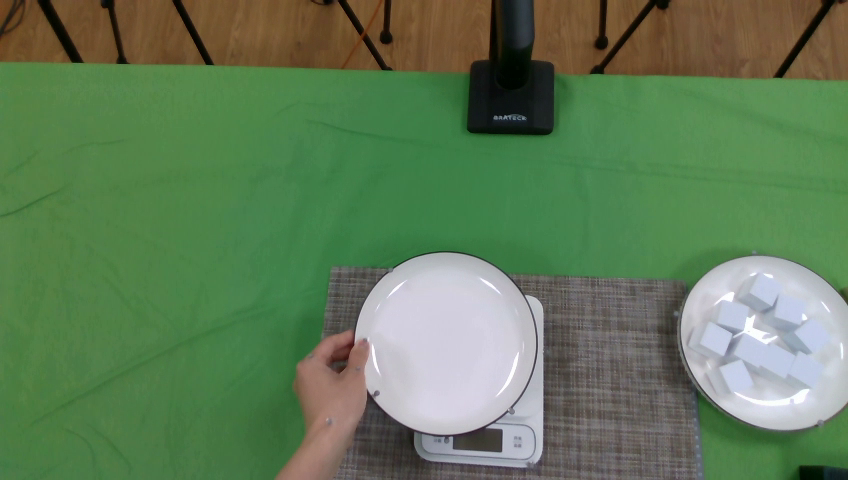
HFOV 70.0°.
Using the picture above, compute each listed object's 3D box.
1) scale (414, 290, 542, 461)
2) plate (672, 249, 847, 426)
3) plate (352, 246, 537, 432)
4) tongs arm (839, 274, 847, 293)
[{"bbox_3d":[0.066,0.155,0.721,0.148,0.032,0.199,2,71,5],"label":"scale"},{"bbox_3d":[0.397,0.114,0.715,0.207,0.039,0.206,-1,71,3],"label":"plate"},{"bbox_3d":[0.023,0.110,0.690,0.209,0.038,0.208,-2,73,6],"label":"plate"},{"bbox_3d":[0.600,0.201,0.678,0.028,0.028,0.384,-26,72,-8],"label":"tongs arm"}]
